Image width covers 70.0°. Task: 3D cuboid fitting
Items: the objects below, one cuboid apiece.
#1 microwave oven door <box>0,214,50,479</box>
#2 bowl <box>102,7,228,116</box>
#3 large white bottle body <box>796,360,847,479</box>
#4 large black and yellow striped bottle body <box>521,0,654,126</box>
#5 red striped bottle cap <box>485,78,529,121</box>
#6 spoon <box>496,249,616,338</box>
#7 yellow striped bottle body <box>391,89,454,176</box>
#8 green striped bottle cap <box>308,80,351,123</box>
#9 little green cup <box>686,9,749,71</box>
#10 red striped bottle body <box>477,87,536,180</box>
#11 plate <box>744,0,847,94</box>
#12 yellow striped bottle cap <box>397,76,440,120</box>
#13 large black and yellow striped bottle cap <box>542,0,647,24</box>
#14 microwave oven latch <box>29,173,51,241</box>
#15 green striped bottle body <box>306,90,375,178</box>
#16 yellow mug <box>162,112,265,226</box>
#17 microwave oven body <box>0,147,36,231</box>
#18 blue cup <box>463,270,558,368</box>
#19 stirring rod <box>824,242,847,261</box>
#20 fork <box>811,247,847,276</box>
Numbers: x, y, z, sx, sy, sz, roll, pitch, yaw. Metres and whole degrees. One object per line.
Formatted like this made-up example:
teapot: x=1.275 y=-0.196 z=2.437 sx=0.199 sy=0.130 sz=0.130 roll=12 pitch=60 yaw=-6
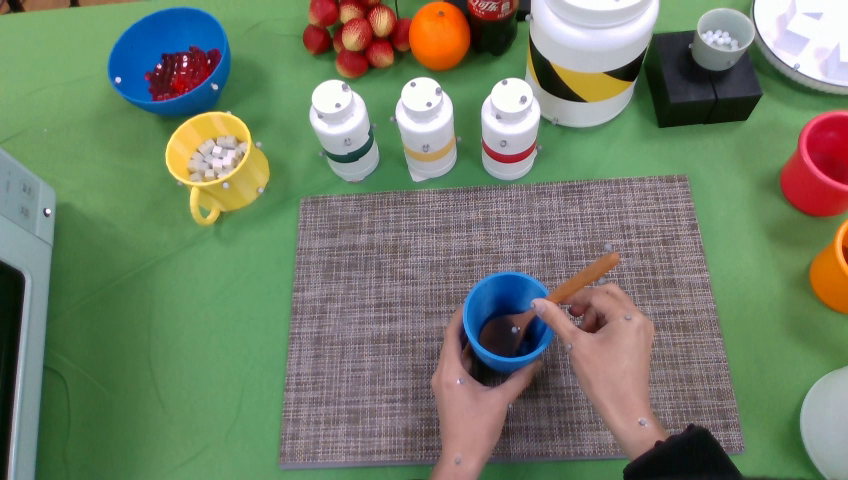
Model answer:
microwave oven door: x=-0.430 y=0.117 z=0.527 sx=0.039 sy=0.246 sz=0.352 roll=-12 pitch=65 yaw=1
bowl: x=-0.313 y=-0.211 z=0.771 sx=0.151 sy=0.077 sz=0.150 roll=-2 pitch=66 yaw=4
large white bottle body: x=0.407 y=0.143 z=0.487 sx=0.130 sy=0.186 sz=0.129 roll=-2 pitch=65 yaw=5
large black and yellow striped bottle body: x=0.177 y=-0.229 z=0.675 sx=0.131 sy=0.185 sz=0.129 roll=-2 pitch=66 yaw=5
red striped bottle cap: x=0.086 y=-0.145 z=0.623 sx=0.044 sy=0.018 sz=0.044 roll=0 pitch=64 yaw=1
spoon: x=0.106 y=0.061 z=0.551 sx=0.022 sy=0.194 sz=0.041 roll=-7 pitch=64 yaw=-32
yellow striped bottle body: x=-0.001 y=-0.127 z=0.681 sx=0.063 sy=0.121 sz=0.062 roll=-2 pitch=66 yaw=6
green striped bottle cap: x=-0.101 y=-0.147 z=0.642 sx=0.044 sy=0.020 sz=0.044 roll=-2 pitch=65 yaw=4
little green cup: x=0.328 y=-0.224 z=0.683 sx=0.061 sy=0.039 sz=0.061 roll=-1 pitch=65 yaw=3
red striped bottle body: x=0.092 y=-0.122 z=0.671 sx=0.063 sy=0.121 sz=0.062 roll=-4 pitch=64 yaw=8
plate: x=0.496 y=-0.259 z=0.738 sx=0.209 sy=0.038 sz=0.207 roll=-2 pitch=67 yaw=5
yellow striped bottle cap: x=-0.006 y=-0.149 z=0.634 sx=0.044 sy=0.019 sz=0.044 roll=-1 pitch=67 yaw=4
large black and yellow striped bottle cap: x=0.169 y=-0.262 z=0.598 sx=0.115 sy=0.019 sz=0.114 roll=-2 pitch=65 yaw=5
microwave oven latch: x=-0.459 y=-0.037 z=0.709 sx=0.030 sy=0.030 sz=0.078 roll=-10 pitch=66 yaw=1
green striped bottle body: x=-0.095 y=-0.126 z=0.690 sx=0.063 sy=0.120 sz=0.062 roll=-2 pitch=65 yaw=5
yellow mug: x=-0.250 y=-0.078 z=0.712 sx=0.100 sy=0.064 sz=0.130 roll=6 pitch=67 yaw=7
microwave oven body: x=-0.580 y=0.111 z=0.549 sx=0.326 sy=0.262 sz=0.438 roll=-12 pitch=66 yaw=0
blue cup: x=0.080 y=0.085 z=0.589 sx=0.092 sy=0.101 sz=0.092 roll=-1 pitch=69 yaw=3
stirring rod: x=0.431 y=0.037 z=0.557 sx=0.014 sy=0.006 sz=0.175 roll=-10 pitch=23 yaw=1
fork: x=0.459 y=0.037 z=0.549 sx=0.028 sy=0.019 sz=0.205 roll=-36 pitch=23 yaw=-16
